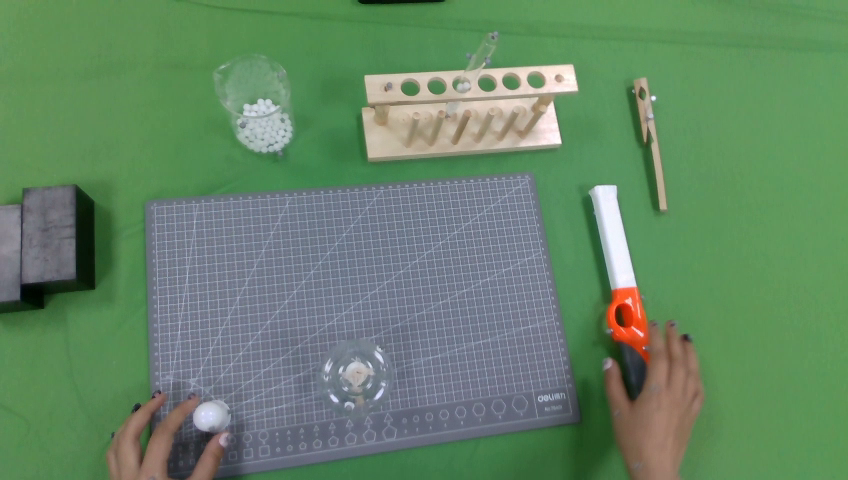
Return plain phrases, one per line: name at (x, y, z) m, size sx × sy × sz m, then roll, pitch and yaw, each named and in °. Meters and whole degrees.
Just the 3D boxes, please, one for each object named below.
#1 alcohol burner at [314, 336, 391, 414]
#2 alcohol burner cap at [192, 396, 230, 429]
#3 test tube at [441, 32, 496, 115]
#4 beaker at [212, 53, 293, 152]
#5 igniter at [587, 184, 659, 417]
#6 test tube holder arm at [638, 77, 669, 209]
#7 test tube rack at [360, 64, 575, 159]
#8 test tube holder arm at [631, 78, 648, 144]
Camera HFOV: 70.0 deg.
alcohol burner at (-0.070, 0.131, 0.600) m, size 0.078 × 0.119 × 0.077 m, roll 3°, pitch 72°, yaw -8°
alcohol burner cap at (-0.214, 0.172, 0.604) m, size 0.034 × 0.048 × 0.033 m, roll 2°, pitch 74°, yaw -7°
test tube at (0.045, -0.179, 0.667) m, size 0.017 × 0.150 × 0.017 m, roll 4°, pitch 72°, yaw -14°
beaker at (-0.185, -0.147, 0.668) m, size 0.084 × 0.100 × 0.073 m, roll 22°, pitch 72°, yaw -1°
igniter at (0.233, 0.065, 0.714) m, size 0.057 × 0.025 × 0.275 m, roll -2°, pitch 75°, yaw -20°
test tube holder arm at (0.292, -0.126, 0.777) m, size 0.013 × 0.015 × 0.177 m, roll -13°, pitch 75°, yaw 24°
test tube rack at (0.050, -0.150, 0.713) m, size 0.243 × 0.085 × 0.066 m, roll -6°, pitch 76°, yaw -10°
test tube holder arm at (0.282, -0.168, 0.790) m, size 0.010 × 0.015 × 0.087 m, roll -12°, pitch 75°, yaw 24°
